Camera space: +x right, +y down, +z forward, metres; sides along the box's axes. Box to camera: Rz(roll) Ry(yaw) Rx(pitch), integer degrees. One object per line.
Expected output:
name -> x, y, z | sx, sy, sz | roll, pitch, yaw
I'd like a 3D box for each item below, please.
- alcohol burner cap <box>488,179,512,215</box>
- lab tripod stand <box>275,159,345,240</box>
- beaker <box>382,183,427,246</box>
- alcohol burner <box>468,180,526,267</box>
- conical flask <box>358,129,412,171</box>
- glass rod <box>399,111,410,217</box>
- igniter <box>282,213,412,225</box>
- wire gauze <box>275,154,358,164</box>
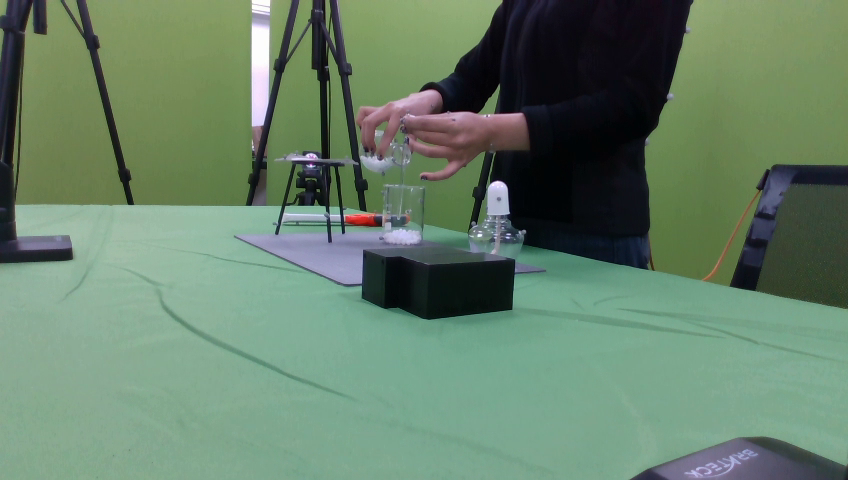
alcohol burner cap -> 0.101, -0.058, 0.816 | 0.034, 0.048, 0.034 | -4, 8, 1
lab tripod stand -> -0.181, -0.072, 1.039 | 0.148, 0.131, 0.148 | 4, 8, 0
beaker -> -0.033, -0.044, 1.007 | 0.074, 0.100, 0.084 | 6, 7, 22
alcohol burner -> 0.101, -0.022, 0.821 | 0.078, 0.119, 0.078 | 4, 8, 0
conical flask -> -0.061, -0.152, 1.038 | 0.076, 0.075, 0.121 | -1, 11, -25
glass rod -> -0.032, -0.117, 0.977 | 0.008, 0.200, 0.008 | 4, 39, -3
igniter -> -0.159, -0.046, 1.286 | 0.278, 0.025, 0.057 | 0, -3, -22
wire gauze -> -0.179, -0.137, 1.028 | 0.121, 0.011, 0.125 | 4, 8, 0
